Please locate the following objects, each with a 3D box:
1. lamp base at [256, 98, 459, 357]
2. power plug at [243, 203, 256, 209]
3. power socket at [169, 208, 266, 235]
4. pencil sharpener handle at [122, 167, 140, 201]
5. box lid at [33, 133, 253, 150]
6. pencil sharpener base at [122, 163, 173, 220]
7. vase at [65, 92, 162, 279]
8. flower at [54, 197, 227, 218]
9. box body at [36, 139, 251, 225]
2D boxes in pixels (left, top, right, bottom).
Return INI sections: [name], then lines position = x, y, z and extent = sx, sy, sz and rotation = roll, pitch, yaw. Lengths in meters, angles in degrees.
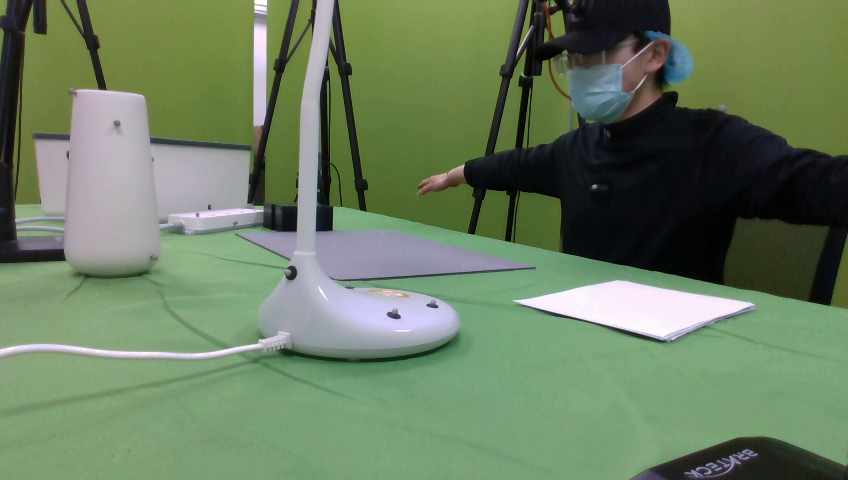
[lamp base]
position = -0.055, -0.013, 0.463
extent = 0.160, 0.180, 0.180
rotation = 6, 11, 27
[power plug]
position = -0.378, -0.049, 1.271
extent = 0.052, 0.035, 0.072
rotation = -4, 35, 27
[power socket]
position = -0.379, -0.038, 1.129
extent = 0.072, 0.032, 0.227
rotation = 4, 8, 18
[pencil sharpener handle]
position = -0.585, -0.111, 1.193
extent = 0.030, 0.068, 0.036
rotation = 4, 14, 21
[box lid]
position = -0.555, -0.199, 1.249
extent = 0.263, 0.015, 0.372
rotation = 5, 8, 15
[pencil sharpener base]
position = -0.539, -0.095, 1.174
extent = 0.076, 0.107, 0.061
rotation = 4, 7, 21
[vase]
position = -0.347, -0.060, 0.673
extent = 0.098, 0.200, 0.098
rotation = 1, 7, 0
[flower]
position = -0.573, -0.058, 1.266
extent = 0.044, 0.038, 0.364
rotation = 36, 20, 33
[box body]
position = -0.558, -0.126, 1.257
extent = 0.253, 0.160, 0.365
rotation = 4, 8, 15
